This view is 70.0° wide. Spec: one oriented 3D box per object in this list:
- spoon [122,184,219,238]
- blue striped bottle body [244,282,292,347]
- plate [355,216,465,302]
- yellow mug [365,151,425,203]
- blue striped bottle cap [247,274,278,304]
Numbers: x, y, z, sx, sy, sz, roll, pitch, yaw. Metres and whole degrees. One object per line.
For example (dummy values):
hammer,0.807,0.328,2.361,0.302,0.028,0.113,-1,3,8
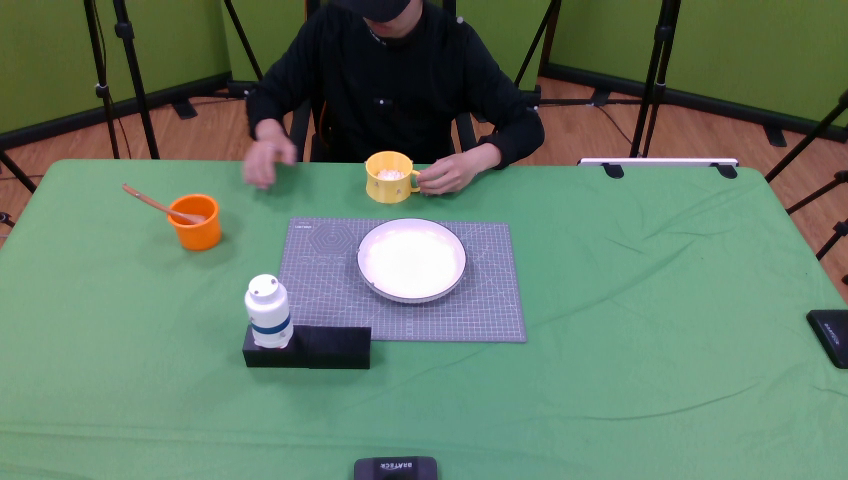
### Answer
spoon,-0.463,-0.053,1.118,0.195,0.021,0.041,28,37,-35
blue striped bottle body,-0.241,0.108,0.937,0.063,0.121,0.062,2,46,-2
plate,-0.027,0.039,1.144,0.208,0.039,0.206,2,46,-2
yellow mug,-0.061,-0.133,1.290,0.131,0.064,0.099,9,46,4
blue striped bottle cap,-0.239,0.072,0.900,0.044,0.021,0.044,4,46,-4
